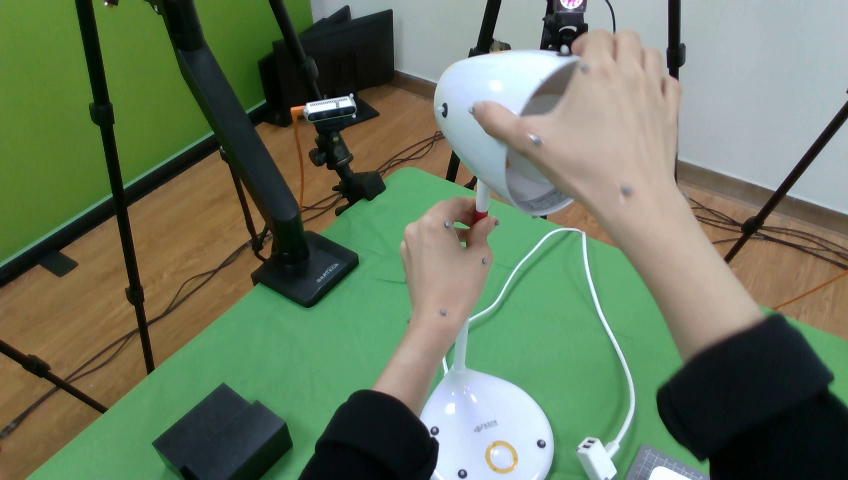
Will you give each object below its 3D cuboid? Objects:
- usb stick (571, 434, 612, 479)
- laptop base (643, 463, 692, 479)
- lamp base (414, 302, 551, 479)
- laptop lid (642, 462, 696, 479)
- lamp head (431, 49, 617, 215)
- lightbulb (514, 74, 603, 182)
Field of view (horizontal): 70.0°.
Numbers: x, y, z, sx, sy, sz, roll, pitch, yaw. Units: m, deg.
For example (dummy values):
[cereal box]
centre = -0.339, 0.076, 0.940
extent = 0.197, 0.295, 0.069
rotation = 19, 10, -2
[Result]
[usb stick]
centre = 0.189, 0.248, 0.674
extent = 0.027, 0.059, 0.021
rotation = -30, 8, -32
[laptop base]
centre = 0.343, 0.382, 0.550
extent = 0.352, 0.023, 0.234
rotation = 22, 51, 22
[lamp base]
centre = 0.059, 0.165, 0.666
extent = 0.161, 0.182, 0.177
rotation = -25, 45, -23
[laptop lid]
centre = 0.341, 0.375, 0.540
extent = 0.354, 0.013, 0.241
rotation = 23, 51, 24
[lamp head]
centre = 0.062, -0.088, 0.452
extent = 0.112, 0.113, 0.121
rotation = -28, 37, -25
[lightbulb]
centre = 0.090, -0.087, 0.430
extent = 0.059, 0.060, 0.106
rotation = -3, 46, -2
